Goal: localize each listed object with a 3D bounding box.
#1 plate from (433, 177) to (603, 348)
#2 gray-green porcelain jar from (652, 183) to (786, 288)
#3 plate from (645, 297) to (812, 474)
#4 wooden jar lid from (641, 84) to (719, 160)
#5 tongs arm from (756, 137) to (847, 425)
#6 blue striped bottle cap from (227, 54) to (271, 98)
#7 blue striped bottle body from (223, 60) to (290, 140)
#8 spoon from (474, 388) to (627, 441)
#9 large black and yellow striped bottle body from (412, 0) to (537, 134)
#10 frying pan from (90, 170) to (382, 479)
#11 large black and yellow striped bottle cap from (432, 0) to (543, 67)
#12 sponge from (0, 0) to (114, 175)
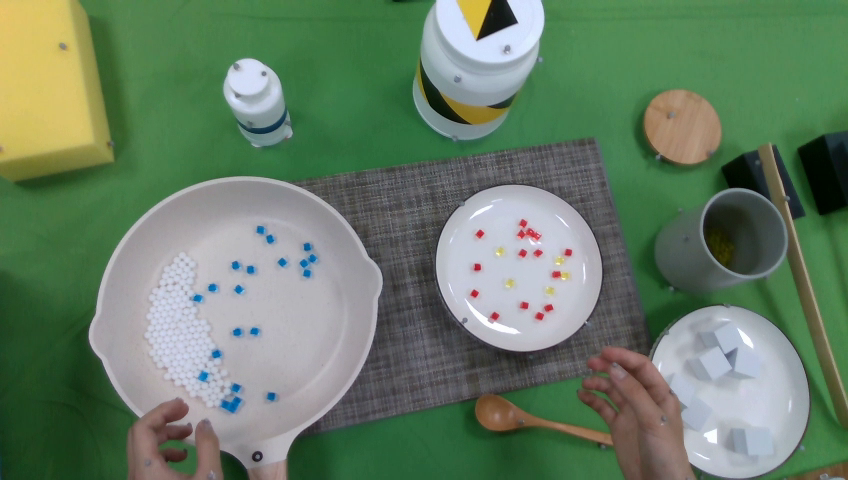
[{"bbox_3d":[0.112,0.027,0.738,0.209,0.038,0.208,1,78,-6],"label":"plate"},{"bbox_3d":[0.346,0.000,0.730,0.106,0.127,0.105,1,77,-6],"label":"gray-green porcelain jar"},{"bbox_3d":[0.366,0.175,0.742,0.208,0.039,0.206,1,78,-6],"label":"plate"},{"bbox_3d":[0.343,-0.158,0.817,0.108,0.021,0.108,1,80,-6],"label":"wooden jar lid"},{"bbox_3d":[0.487,0.055,0.753,0.051,0.026,0.384,-15,90,-12],"label":"tongs arm"},{"bbox_3d":[-0.189,-0.177,0.653,0.044,0.021,0.044,1,75,-4],"label":"blue striped bottle cap"},{"bbox_3d":[-0.194,-0.167,0.703,0.063,0.121,0.063,1,78,-6],"label":"blue striped bottle body"},{"bbox_3d":[0.150,0.213,0.715,0.194,0.022,0.041,14,60,-3],"label":"spoon"},{"bbox_3d":[0.057,-0.218,0.712,0.131,0.184,0.130,1,77,-6],"label":"large black and yellow striped bottle body"},{"bbox_3d":[-0.176,0.166,0.642,0.307,0.103,0.484,-11,72,-6],"label":"frying pan"},{"bbox_3d":[0.066,-0.236,0.629,0.115,0.019,0.114,1,77,-5],"label":"large black and yellow striped bottle cap"},{"bbox_3d":[-0.453,-0.191,0.707,0.118,0.061,0.206,-15,81,-10],"label":"sponge"}]
